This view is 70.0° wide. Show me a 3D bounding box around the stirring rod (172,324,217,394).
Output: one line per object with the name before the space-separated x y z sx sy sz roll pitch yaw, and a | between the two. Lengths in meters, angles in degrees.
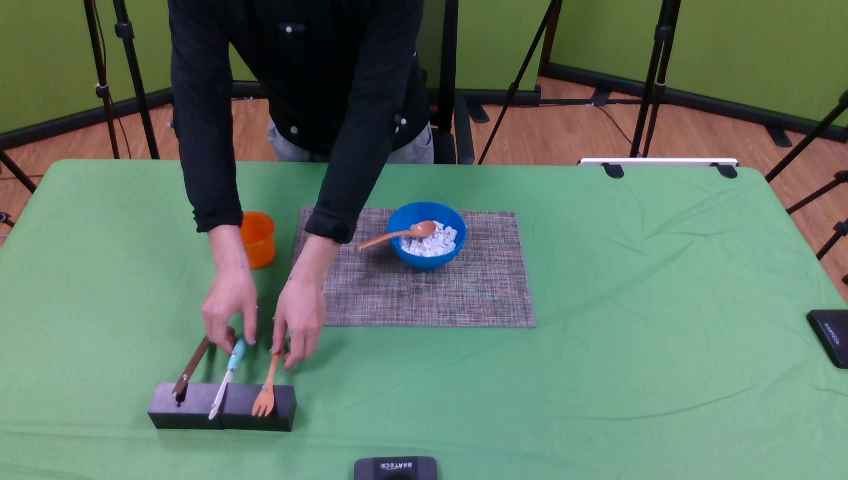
stirring rod | -0.361 0.185 0.962 0.014 0.006 0.175 2 26 -1

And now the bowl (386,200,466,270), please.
bowl | 0.002 0.003 1.150 0.151 0.077 0.150 2 46 -2

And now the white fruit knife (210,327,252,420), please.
white fruit knife | -0.298 0.200 0.937 0.016 0.027 0.206 -1 30 0

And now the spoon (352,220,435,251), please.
spoon | -0.054 -0.009 1.109 0.194 0.022 0.041 -14 39 -42

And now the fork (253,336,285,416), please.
fork | -0.236 0.206 0.939 0.028 0.019 0.206 1 26 -5
